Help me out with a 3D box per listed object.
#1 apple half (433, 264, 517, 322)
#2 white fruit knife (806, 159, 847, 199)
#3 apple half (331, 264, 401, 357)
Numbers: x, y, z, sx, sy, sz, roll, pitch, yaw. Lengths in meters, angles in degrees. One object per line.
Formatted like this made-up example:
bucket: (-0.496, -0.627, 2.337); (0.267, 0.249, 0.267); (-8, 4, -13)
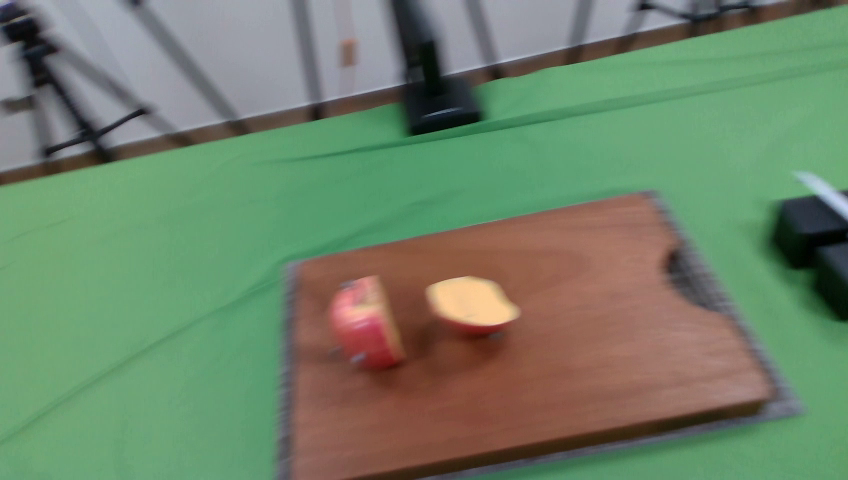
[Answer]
apple half: (0.043, 0.056, 0.566); (0.081, 0.033, 0.080); (9, 30, -5)
white fruit knife: (0.416, -0.017, 0.549); (0.027, 0.016, 0.205); (3, 38, -17)
apple half: (-0.056, 0.069, 0.551); (0.053, 0.075, 0.080); (-19, 48, -1)
